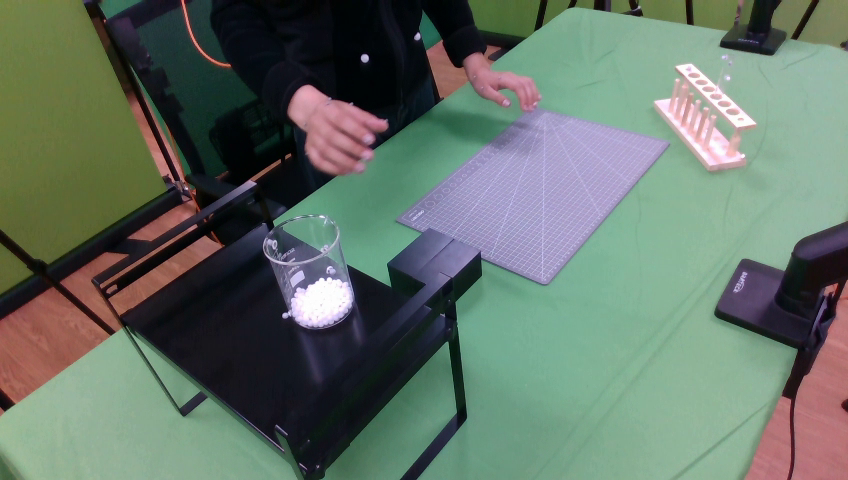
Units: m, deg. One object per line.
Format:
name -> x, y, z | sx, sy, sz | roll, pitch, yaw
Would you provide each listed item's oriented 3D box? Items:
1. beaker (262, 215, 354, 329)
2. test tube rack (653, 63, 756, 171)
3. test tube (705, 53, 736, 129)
beaker -> -0.112, 0.034, 0.616 | 0.073, 0.101, 0.084 | 13, 44, 23
test tube rack -> 0.510, -0.233, 1.120 | 0.067, 0.085, 0.241 | -9, 41, -1
test tube -> 0.525, -0.260, 1.074 | 0.017, 0.151, 0.017 | -2, 44, 3
